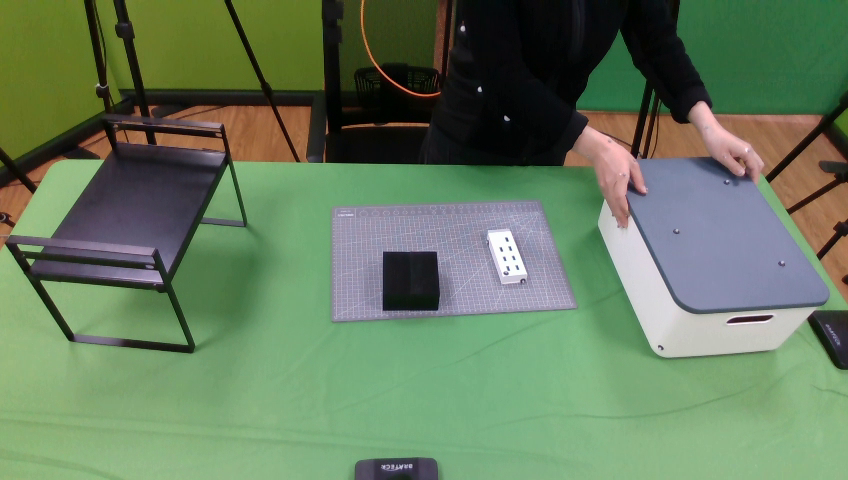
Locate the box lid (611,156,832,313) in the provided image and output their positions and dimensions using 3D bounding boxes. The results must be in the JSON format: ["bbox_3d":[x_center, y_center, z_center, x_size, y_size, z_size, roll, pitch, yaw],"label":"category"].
[{"bbox_3d":[0.500,-0.028,1.058,0.263,0.015,0.369,-3,46,-7],"label":"box lid"}]

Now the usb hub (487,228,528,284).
[{"bbox_3d":[0.159,0.030,1.173,0.049,0.025,0.124,-5,46,-9],"label":"usb hub"}]

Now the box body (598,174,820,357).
[{"bbox_3d":[0.497,0.025,1.109,0.254,0.161,0.361,-3,47,-6],"label":"box body"}]
